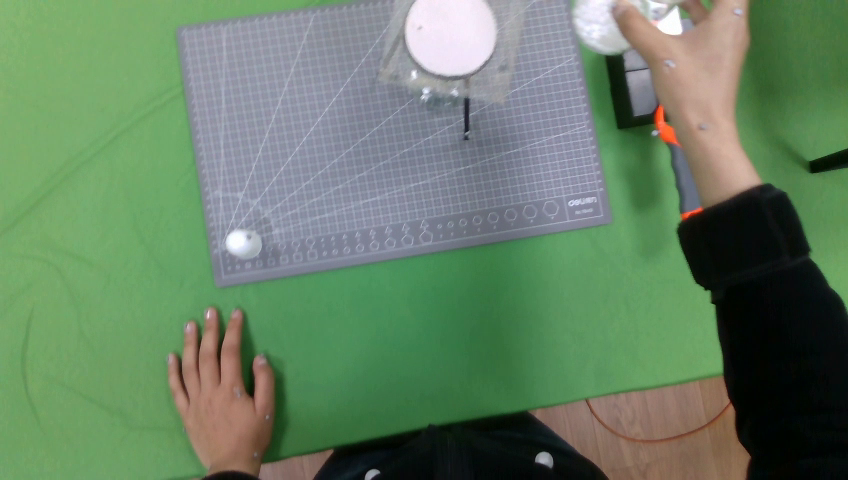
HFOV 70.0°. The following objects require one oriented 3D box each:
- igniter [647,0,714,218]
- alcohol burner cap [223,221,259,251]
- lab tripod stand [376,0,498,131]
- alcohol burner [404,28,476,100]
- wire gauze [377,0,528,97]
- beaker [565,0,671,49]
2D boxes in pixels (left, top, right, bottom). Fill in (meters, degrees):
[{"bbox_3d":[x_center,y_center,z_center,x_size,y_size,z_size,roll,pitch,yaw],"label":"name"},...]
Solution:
[{"bbox_3d":[0.271,-0.161,0.648,0.057,0.025,0.276,-8,86,1],"label":"igniter"},{"bbox_3d":[-0.197,-0.006,0.646,0.034,0.048,0.034,0,86,-4],"label":"alcohol burner cap"},{"bbox_3d":[0.023,-0.199,0.625,0.148,0.131,0.148,0,84,-3],"label":"lab tripod stand"},{"bbox_3d":[0.018,-0.190,0.634,0.078,0.119,0.078,0,88,-2],"label":"alcohol burner"},{"bbox_3d":[0.029,-0.201,0.559,0.121,0.011,0.125,14,85,-3],"label":"wire gauze"},{"bbox_3d":[0.162,-0.208,0.492,0.084,0.100,0.074,4,82,-8],"label":"beaker"}]
